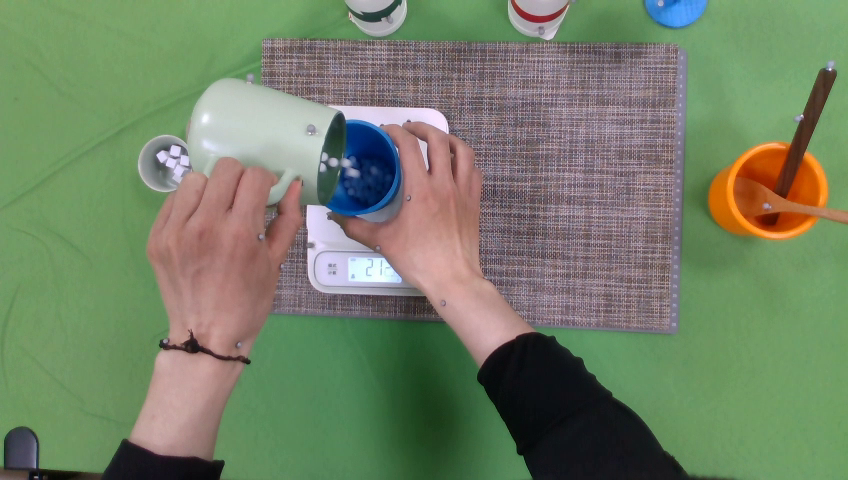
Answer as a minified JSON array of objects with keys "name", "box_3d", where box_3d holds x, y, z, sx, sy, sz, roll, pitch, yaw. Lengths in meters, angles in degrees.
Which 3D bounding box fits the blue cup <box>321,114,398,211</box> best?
[{"name":"blue cup","box_3d":[-0.062,-0.068,0.579,0.092,0.100,0.092,0,90,3]}]

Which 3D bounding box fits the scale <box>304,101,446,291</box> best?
[{"name":"scale","box_3d":[-0.053,-0.047,0.643,0.148,0.031,0.200,1,89,4]}]

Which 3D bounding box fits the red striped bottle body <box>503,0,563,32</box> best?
[{"name":"red striped bottle body","box_3d":[0.111,-0.256,0.595,0.063,0.120,0.063,0,88,4]}]

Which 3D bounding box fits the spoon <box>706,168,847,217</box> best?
[{"name":"spoon","box_3d":[0.356,-0.033,0.559,0.022,0.192,0.041,10,98,-39]}]

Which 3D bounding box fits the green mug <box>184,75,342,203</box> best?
[{"name":"green mug","box_3d":[-0.130,-0.069,0.477,0.105,0.124,0.093,12,129,3]}]

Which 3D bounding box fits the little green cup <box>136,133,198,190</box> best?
[{"name":"little green cup","box_3d":[-0.274,-0.083,0.660,0.061,0.038,0.061,0,88,3]}]

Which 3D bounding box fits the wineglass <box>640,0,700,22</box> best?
[{"name":"wineglass","box_3d":[0.254,-0.266,0.558,0.073,0.172,0.073,0,88,5]}]

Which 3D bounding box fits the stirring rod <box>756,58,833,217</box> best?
[{"name":"stirring rod","box_3d":[0.339,-0.086,0.561,0.014,0.178,0.006,12,49,19]}]

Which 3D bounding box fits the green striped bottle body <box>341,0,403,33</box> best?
[{"name":"green striped bottle body","box_3d":[-0.058,-0.259,0.608,0.063,0.119,0.063,0,89,5]}]
